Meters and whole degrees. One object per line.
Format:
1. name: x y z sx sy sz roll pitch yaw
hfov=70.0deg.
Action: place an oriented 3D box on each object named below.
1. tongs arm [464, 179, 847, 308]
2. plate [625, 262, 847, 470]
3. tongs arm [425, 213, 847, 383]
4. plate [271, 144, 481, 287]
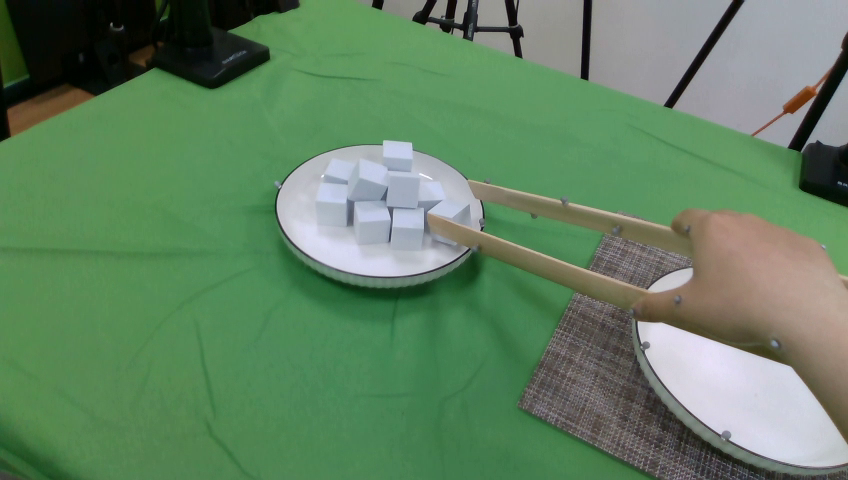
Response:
1. tongs arm: 0.161 0.007 0.465 0.381 0.027 0.050 19 52 43
2. plate: 0.274 0.104 0.524 0.208 0.039 0.205 5 43 -4
3. tongs arm: 0.137 0.029 0.451 0.384 0.028 0.028 19 49 43
4. plate: -0.047 -0.025 0.614 0.209 0.038 0.207 5 42 -4
